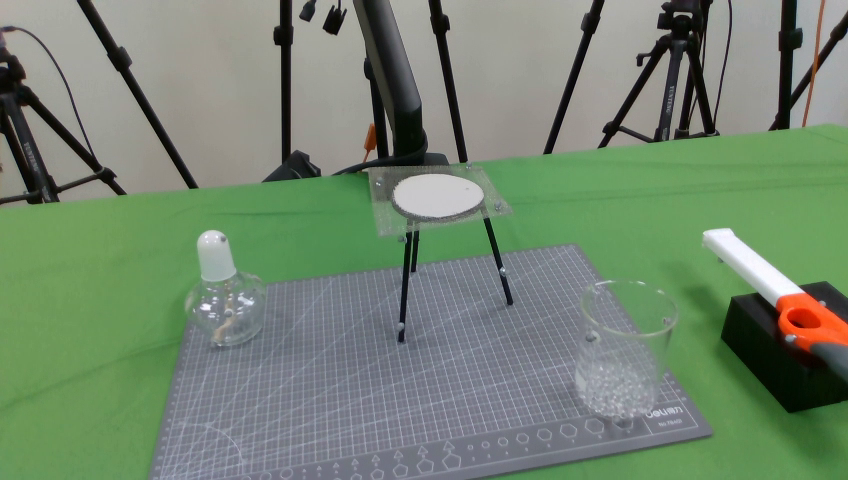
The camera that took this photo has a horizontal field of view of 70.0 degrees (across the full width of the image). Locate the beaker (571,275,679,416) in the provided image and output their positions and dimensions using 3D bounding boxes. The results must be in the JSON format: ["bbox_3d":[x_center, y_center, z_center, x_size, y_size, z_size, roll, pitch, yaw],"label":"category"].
[{"bbox_3d":[0.161,0.089,0.506,0.074,0.101,0.083,-17,35,-21],"label":"beaker"}]

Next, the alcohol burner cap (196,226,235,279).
[{"bbox_3d":[-0.199,0.010,0.574,0.034,0.048,0.033,0,27,0],"label":"alcohol burner cap"}]

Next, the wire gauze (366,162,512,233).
[{"bbox_3d":[0.009,-0.047,0.572,0.122,0.011,0.124,-6,33,-8],"label":"wire gauze"}]

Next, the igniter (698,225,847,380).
[{"bbox_3d":[0.324,0.057,0.530,0.057,0.025,0.274,-7,29,-5],"label":"igniter"}]

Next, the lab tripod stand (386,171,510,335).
[{"bbox_3d":[0.016,0.007,0.612,0.148,0.132,0.147,-1,31,1],"label":"lab tripod stand"}]

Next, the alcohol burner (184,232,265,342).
[{"bbox_3d":[-0.198,0.041,0.592,0.078,0.120,0.077,-1,35,1],"label":"alcohol burner"}]
